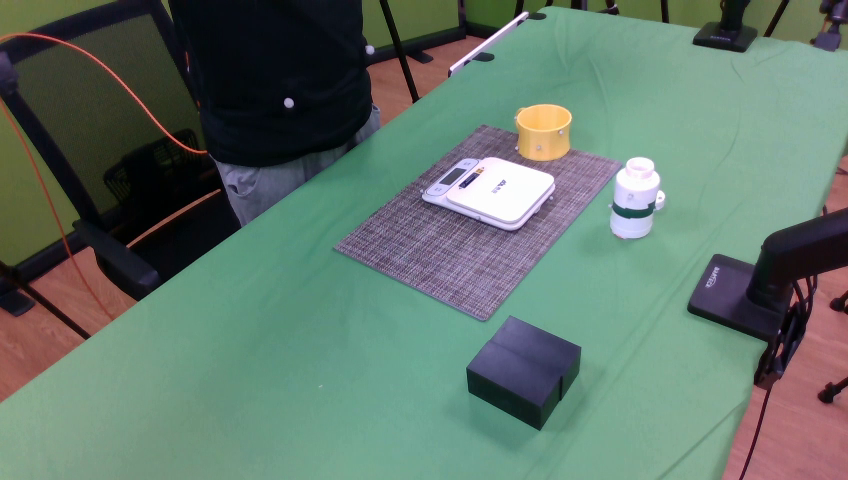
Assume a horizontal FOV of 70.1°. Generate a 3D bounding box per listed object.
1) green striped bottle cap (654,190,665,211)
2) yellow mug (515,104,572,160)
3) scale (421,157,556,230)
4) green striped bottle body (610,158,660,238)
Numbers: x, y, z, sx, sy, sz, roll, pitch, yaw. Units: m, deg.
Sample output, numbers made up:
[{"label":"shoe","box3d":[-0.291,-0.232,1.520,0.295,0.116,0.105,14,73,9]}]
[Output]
[{"label":"green striped bottle cap","box3d":[0.375,-0.066,0.998,0.044,0.020,0.044,-9,37,7]},{"label":"yellow mug","box3d":[0.216,-0.211,1.143,0.100,0.064,0.129,-27,44,-22]},{"label":"scale","box3d":[0.110,-0.089,1.042,0.199,0.032,0.149,23,48,31]},{"label":"green striped bottle body","box3d":[0.323,-0.066,0.923,0.063,0.120,0.063,-4,41,4]}]
